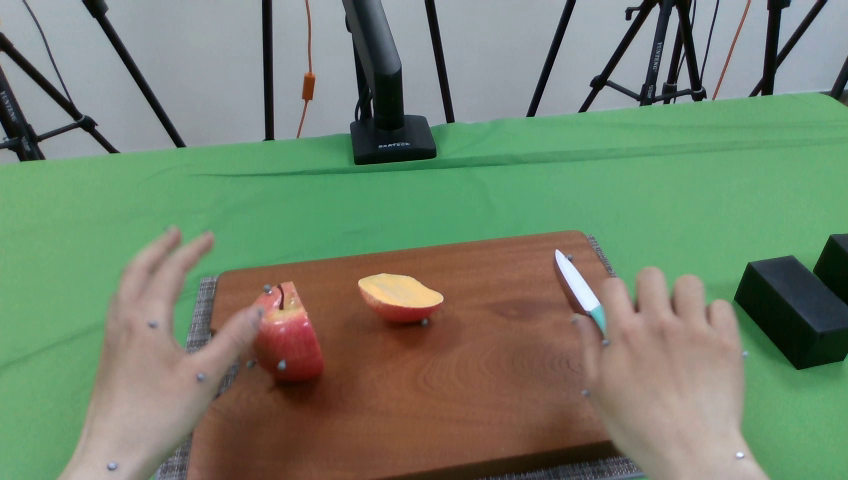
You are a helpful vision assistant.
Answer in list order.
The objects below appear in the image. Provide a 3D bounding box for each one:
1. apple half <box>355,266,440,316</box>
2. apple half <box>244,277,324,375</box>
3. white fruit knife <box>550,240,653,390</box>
[{"bbox_3d":[-0.030,0.053,0.565,0.081,0.033,0.081,13,18,-4],"label":"apple half"},{"bbox_3d":[-0.122,0.078,0.512,0.053,0.075,0.080,-23,47,-16],"label":"apple half"},{"bbox_3d":[0.160,0.059,0.571,0.027,0.016,0.205,4,35,-17],"label":"white fruit knife"}]
